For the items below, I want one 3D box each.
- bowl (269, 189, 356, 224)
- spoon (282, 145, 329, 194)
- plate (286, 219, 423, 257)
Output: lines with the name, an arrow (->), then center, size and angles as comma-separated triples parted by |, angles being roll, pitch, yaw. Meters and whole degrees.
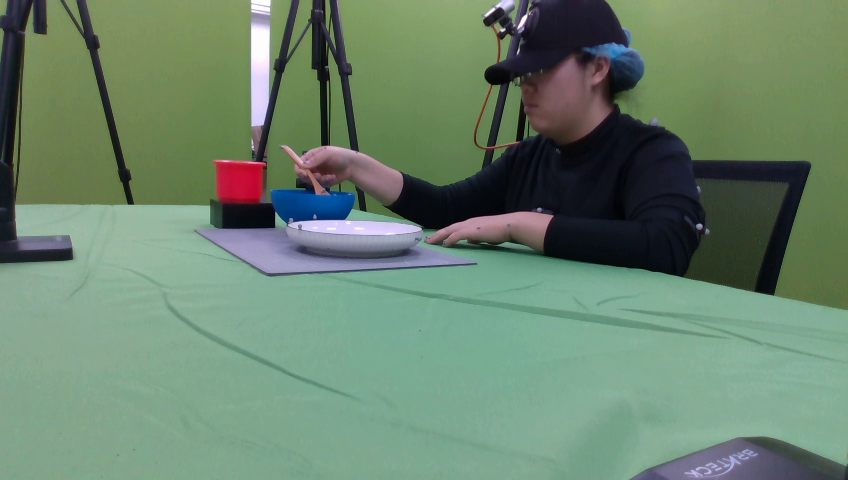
bowl -> -0.199, -0.049, 1.080 | 0.151, 0.077, 0.151 | 3, 7, 0
spoon -> -0.210, -0.117, 1.115 | 0.042, 0.021, 0.193 | -20, 61, -36
plate -> -0.105, -0.003, 0.922 | 0.208, 0.039, 0.207 | 3, 7, 0
